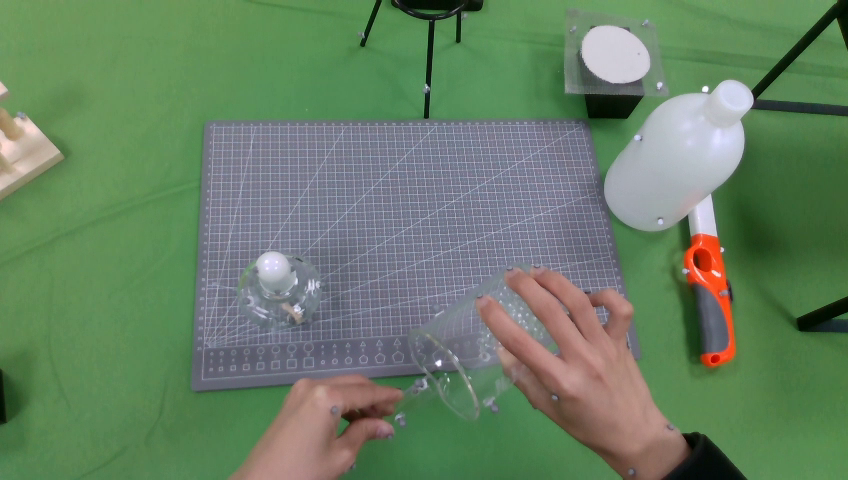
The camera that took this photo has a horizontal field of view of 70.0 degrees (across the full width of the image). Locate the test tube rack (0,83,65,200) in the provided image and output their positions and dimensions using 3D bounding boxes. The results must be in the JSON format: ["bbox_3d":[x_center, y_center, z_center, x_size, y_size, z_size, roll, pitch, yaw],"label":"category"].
[{"bbox_3d":[-0.483,-0.049,0.568,0.066,0.085,0.242,43,69,11],"label":"test tube rack"}]

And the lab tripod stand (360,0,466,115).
[{"bbox_3d":[-0.003,-0.239,0.687,0.149,0.132,0.147,3,68,-8],"label":"lab tripod stand"}]

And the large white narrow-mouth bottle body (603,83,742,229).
[{"bbox_3d":[0.264,-0.092,0.627,0.102,0.195,0.101,2,66,-5],"label":"large white narrow-mouth bottle body"}]

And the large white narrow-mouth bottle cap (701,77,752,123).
[{"bbox_3d":[0.273,-0.127,0.549,0.038,0.024,0.037,3,67,-6],"label":"large white narrow-mouth bottle cap"}]

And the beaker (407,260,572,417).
[{"bbox_3d":[0.049,0.067,0.435,0.100,0.084,0.073,-33,75,-23],"label":"beaker"}]

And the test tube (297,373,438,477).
[{"bbox_3d":[-0.048,0.148,0.476,0.150,0.017,0.017,-39,72,21],"label":"test tube"}]

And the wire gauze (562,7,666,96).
[{"bbox_3d":[0.224,-0.224,0.726,0.122,0.011,0.124,5,67,-5],"label":"wire gauze"}]

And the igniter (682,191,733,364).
[{"bbox_3d":[0.314,0.004,0.685,0.057,0.025,0.274,11,66,-17],"label":"igniter"}]

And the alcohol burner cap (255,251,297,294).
[{"bbox_3d":[-0.130,0.027,0.527,0.034,0.048,0.033,1,72,-4],"label":"alcohol burner cap"}]

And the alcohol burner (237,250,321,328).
[{"bbox_3d":[-0.135,0.040,0.560,0.078,0.119,0.077,4,65,-8],"label":"alcohol burner"}]
